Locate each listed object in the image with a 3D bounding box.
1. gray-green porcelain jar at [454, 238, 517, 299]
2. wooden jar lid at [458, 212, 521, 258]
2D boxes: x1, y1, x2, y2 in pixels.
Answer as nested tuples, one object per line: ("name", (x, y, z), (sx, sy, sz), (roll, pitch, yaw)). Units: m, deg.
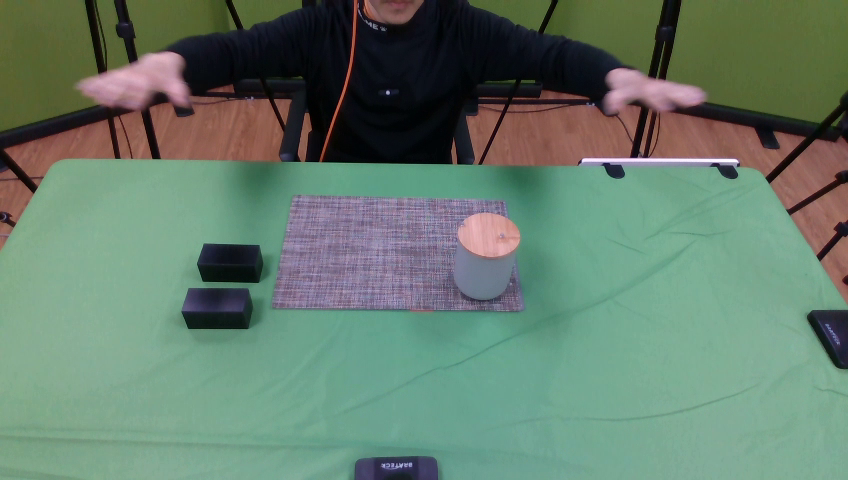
("gray-green porcelain jar", (0.109, 0.036, 1.092), (0.106, 0.127, 0.105), (2, 46, -2))
("wooden jar lid", (0.112, -0.006, 1.048), (0.108, 0.021, 0.107), (1, 45, 0))
